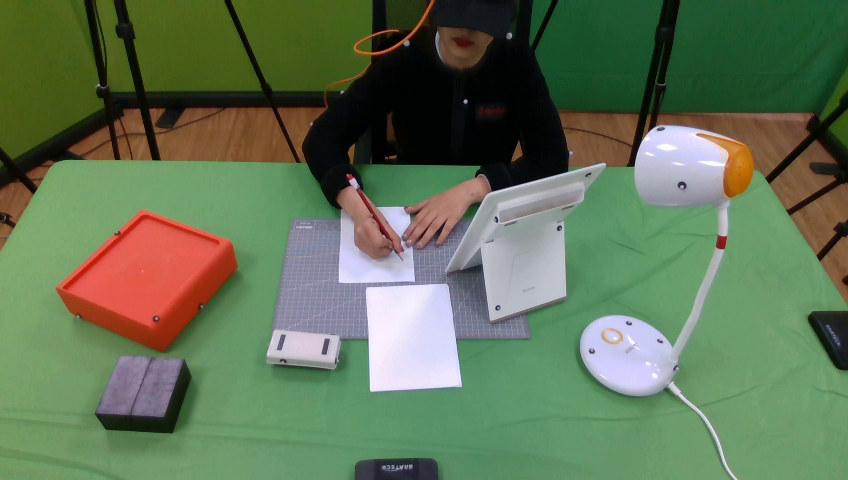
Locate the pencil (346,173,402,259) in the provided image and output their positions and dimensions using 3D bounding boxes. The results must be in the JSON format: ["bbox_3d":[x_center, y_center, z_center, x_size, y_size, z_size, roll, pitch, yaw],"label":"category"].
[{"bbox_3d":[-0.091,-0.042,1.140,0.012,0.194,0.012,-29,15,9],"label":"pencil"}]

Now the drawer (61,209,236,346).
[{"bbox_3d":[-0.474,0.061,1.063,0.194,0.073,0.211,19,48,13],"label":"drawer"}]

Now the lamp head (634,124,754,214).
[{"bbox_3d":[0.351,-0.089,0.776,0.112,0.113,0.122,-30,30,-28],"label":"lamp head"}]

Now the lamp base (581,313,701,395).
[{"bbox_3d":[0.361,0.144,0.973,0.178,0.181,0.160,34,53,23],"label":"lamp base"}]

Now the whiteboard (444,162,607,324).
[{"bbox_3d":[0.186,0.025,1.029,0.217,0.306,0.143,-15,68,-18],"label":"whiteboard"}]

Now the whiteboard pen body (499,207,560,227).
[{"bbox_3d":[0.222,-0.051,1.259,0.141,0.017,0.017,-15,49,-16],"label":"whiteboard pen body"}]

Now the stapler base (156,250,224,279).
[{"bbox_3d":[-0.431,0.040,1.111,0.130,0.024,0.041,11,38,17],"label":"stapler base"}]

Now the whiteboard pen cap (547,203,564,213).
[{"bbox_3d":[0.277,-0.066,1.275,0.033,0.018,0.018,-18,50,-15],"label":"whiteboard pen cap"}]

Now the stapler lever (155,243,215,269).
[{"bbox_3d":[-0.433,0.023,1.097,0.118,0.040,0.026,14,39,14],"label":"stapler lever"}]

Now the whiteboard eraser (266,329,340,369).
[{"bbox_3d":[-0.198,0.181,0.994,0.113,0.042,0.055,5,45,1],"label":"whiteboard eraser"}]

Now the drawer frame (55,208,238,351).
[{"bbox_3d":[-0.474,0.062,1.060,0.201,0.083,0.213,18,48,12],"label":"drawer frame"}]
